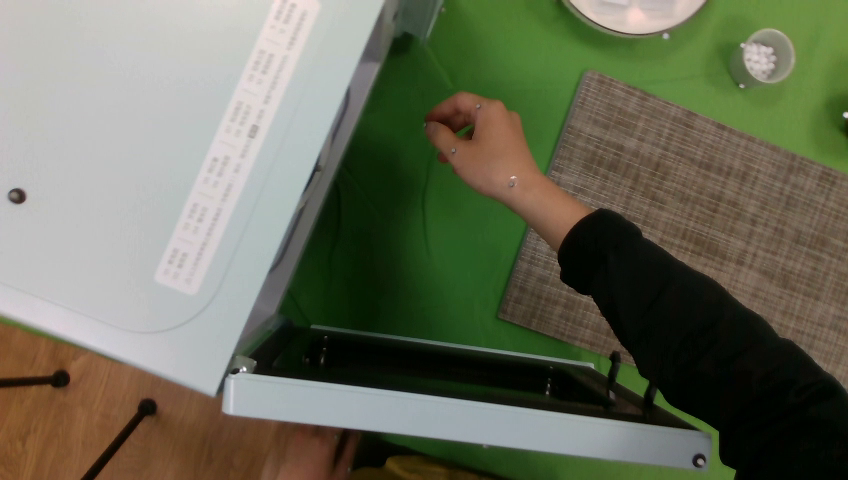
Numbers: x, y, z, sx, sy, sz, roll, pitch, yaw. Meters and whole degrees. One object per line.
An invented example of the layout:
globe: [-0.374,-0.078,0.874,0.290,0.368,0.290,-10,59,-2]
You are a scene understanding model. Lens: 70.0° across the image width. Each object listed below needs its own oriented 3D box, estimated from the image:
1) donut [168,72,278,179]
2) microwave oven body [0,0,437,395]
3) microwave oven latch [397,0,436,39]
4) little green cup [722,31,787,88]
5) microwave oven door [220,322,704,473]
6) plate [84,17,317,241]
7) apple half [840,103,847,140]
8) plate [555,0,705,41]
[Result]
donut: [-0.186,-0.106,0.565,0.099,0.048,0.099,0,93,-6]
microwave oven body: [-0.195,-0.148,0.522,0.327,0.259,0.441,23,89,-6]
microwave oven latch: [0.000,-0.255,0.637,0.030,0.029,0.079,27,89,-6]
little green cup: [0.378,-0.206,0.699,0.061,0.038,0.061,0,90,-6]
microwave oven door: [0.024,0.131,0.546,0.356,0.243,0.039,9,89,-6]
plate: [-0.206,-0.102,0.575,0.209,0.038,0.209,0,90,-7]
apple half: [0.517,-0.144,0.698,0.053,0.074,0.081,12,93,-1]
plate: [0.226,-0.325,0.680,0.208,0.039,0.207,0,91,-6]
